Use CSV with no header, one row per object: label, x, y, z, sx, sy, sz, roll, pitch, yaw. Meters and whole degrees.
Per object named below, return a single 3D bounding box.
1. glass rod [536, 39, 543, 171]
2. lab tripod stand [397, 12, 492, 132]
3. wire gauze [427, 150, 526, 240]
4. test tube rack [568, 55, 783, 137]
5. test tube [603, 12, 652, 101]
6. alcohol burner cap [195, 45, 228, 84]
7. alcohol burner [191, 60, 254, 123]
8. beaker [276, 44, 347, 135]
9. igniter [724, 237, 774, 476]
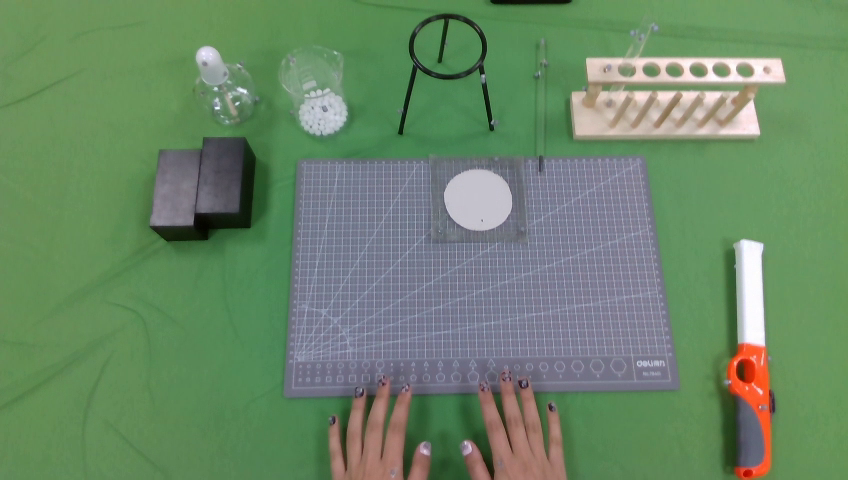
glass rod,0.154,-0.183,0.809,0.008,0.008,0.198,4,72,0
lab tripod stand,0.023,-0.206,0.750,0.148,0.132,0.147,0,70,1
wire gauze,0.065,-0.058,0.764,0.125,0.011,0.120,1,70,0
test tube rack,0.316,-0.182,0.772,0.242,0.085,0.066,-1,71,-1
test tube,0.243,-0.216,0.731,0.017,0.151,0.017,0,67,1
alcohol burner cap,-0.253,-0.210,0.718,0.034,0.048,0.033,2,72,-5
alcohol burner,-0.255,-0.198,0.752,0.078,0.120,0.077,1,69,-1
beaker,-0.134,-0.185,0.758,0.084,0.101,0.073,-38,76,-14
igniter,0.373,0.128,0.699,0.057,0.025,0.275,12,71,-8
